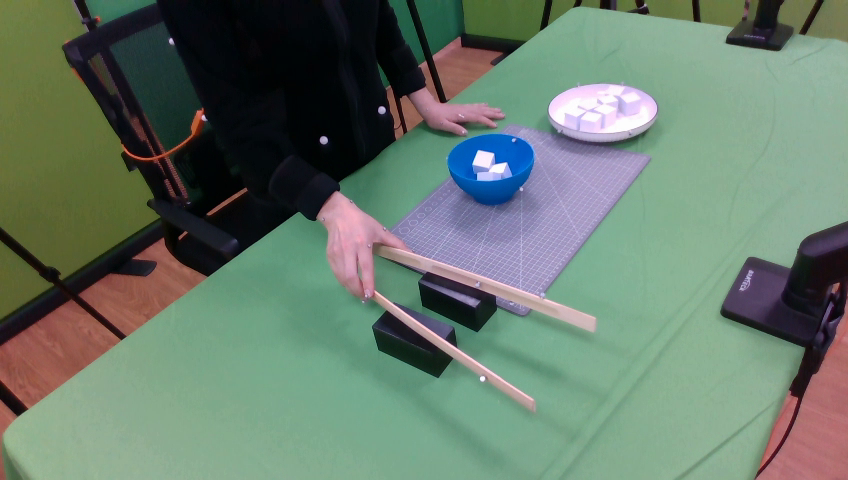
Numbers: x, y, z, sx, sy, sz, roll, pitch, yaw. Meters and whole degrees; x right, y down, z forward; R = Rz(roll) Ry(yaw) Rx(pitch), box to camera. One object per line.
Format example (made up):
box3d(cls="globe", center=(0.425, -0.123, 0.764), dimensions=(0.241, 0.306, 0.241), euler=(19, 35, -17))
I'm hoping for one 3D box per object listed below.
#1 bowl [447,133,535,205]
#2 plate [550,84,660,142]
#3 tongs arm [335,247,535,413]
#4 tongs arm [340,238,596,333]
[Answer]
box3d(cls="bowl", center=(0.119, -0.115, 1.051), dimensions=(0.151, 0.077, 0.150), euler=(-6, 40, 5))
box3d(cls="plate", center=(0.355, -0.246, 1.195), dimensions=(0.207, 0.039, 0.206), euler=(-5, 39, 5))
box3d(cls="tongs arm", center=(-0.006, 0.104, 0.785), dimensions=(0.028, 0.028, 0.384), euler=(-39, 48, -23))
box3d(cls="tongs arm", center=(0.043, 0.061, 0.826), dimensions=(0.382, 0.026, 0.051), euler=(20, 50, 30))
